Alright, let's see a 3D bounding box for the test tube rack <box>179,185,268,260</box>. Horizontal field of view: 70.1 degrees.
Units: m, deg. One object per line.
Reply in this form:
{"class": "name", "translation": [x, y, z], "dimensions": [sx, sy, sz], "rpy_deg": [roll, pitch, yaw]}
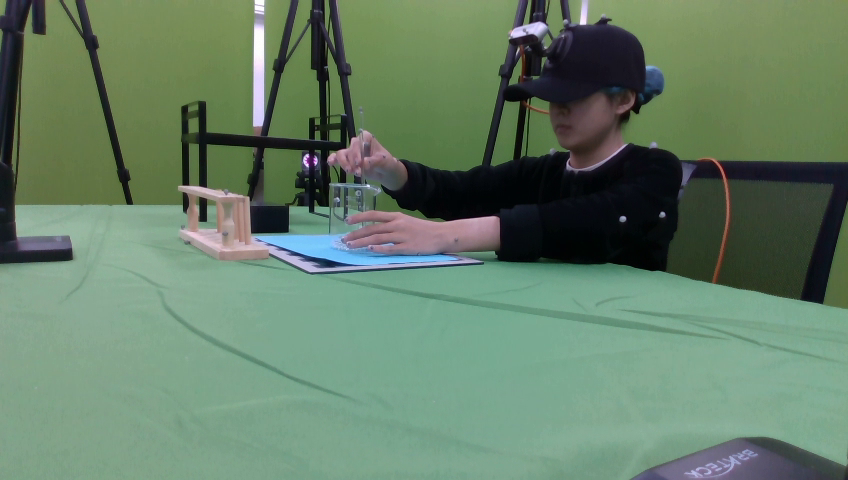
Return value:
{"class": "test tube rack", "translation": [-0.303, -0.031, 0.898], "dimensions": [0.067, 0.085, 0.241], "rpy_deg": [-2, 9, -33]}

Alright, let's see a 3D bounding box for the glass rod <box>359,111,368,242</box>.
{"class": "glass rod", "translation": [-0.093, -0.096, 0.922], "dimensions": [0.008, 0.199, 0.008], "rpy_deg": [-2, 6, 0]}

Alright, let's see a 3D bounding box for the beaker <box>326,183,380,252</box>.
{"class": "beaker", "translation": [-0.108, -0.035, 0.921], "dimensions": [0.084, 0.100, 0.074], "rpy_deg": [5, 8, 14]}
